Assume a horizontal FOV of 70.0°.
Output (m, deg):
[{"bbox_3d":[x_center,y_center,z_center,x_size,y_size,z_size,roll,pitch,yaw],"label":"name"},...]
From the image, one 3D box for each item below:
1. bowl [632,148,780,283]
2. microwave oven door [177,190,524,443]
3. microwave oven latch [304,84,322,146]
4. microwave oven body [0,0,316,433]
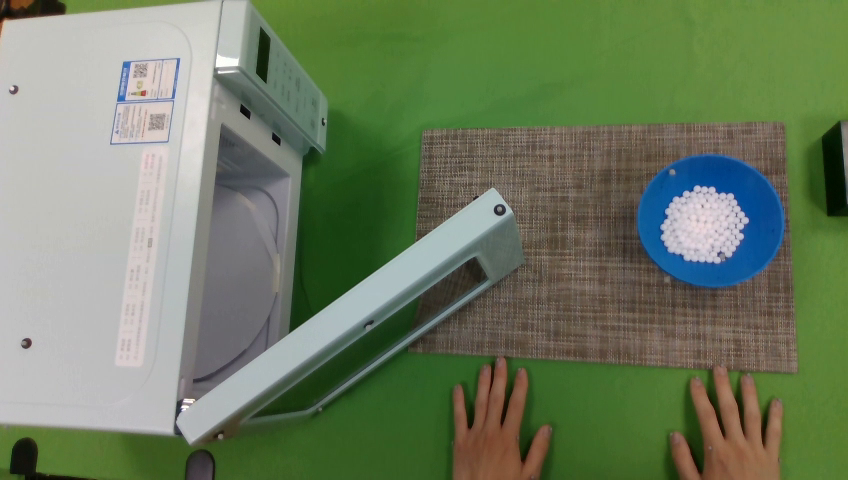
[{"bbox_3d":[0.312,-0.021,0.693,0.151,0.077,0.150,-2,78,11],"label":"bowl"},{"bbox_3d":[-0.052,0.091,0.644,0.356,0.245,0.039,-36,73,2],"label":"microwave oven door"},{"bbox_3d":[-0.155,-0.169,0.821,0.030,0.029,0.079,-1,79,11],"label":"microwave oven latch"},{"bbox_3d":[-0.324,-0.013,0.723,0.325,0.261,0.440,-1,79,11],"label":"microwave oven body"}]
